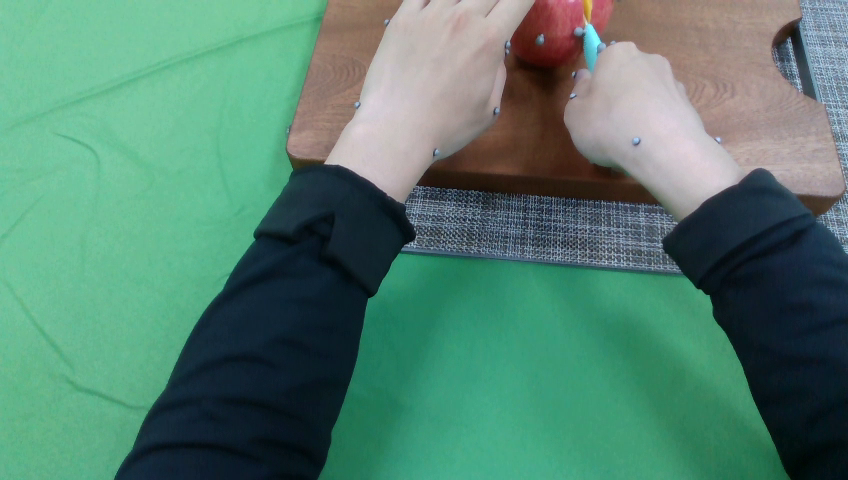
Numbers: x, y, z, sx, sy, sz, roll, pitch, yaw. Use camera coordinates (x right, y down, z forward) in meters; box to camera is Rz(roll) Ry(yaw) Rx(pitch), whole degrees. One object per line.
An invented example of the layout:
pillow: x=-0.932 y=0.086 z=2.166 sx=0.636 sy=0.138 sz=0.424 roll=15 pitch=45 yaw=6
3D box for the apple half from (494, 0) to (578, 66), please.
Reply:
apple half: x=0.081 y=-0.174 z=0.462 sx=0.053 sy=0.075 sz=0.080 roll=-12 pitch=64 yaw=1

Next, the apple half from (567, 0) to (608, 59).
apple half: x=0.121 y=-0.182 z=0.465 sx=0.033 sy=0.082 sz=0.080 roll=-10 pitch=61 yaw=-5

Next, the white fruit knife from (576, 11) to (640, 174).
white fruit knife: x=0.115 y=-0.143 z=0.437 sx=0.016 sy=0.027 sz=0.205 roll=-13 pitch=67 yaw=-1
